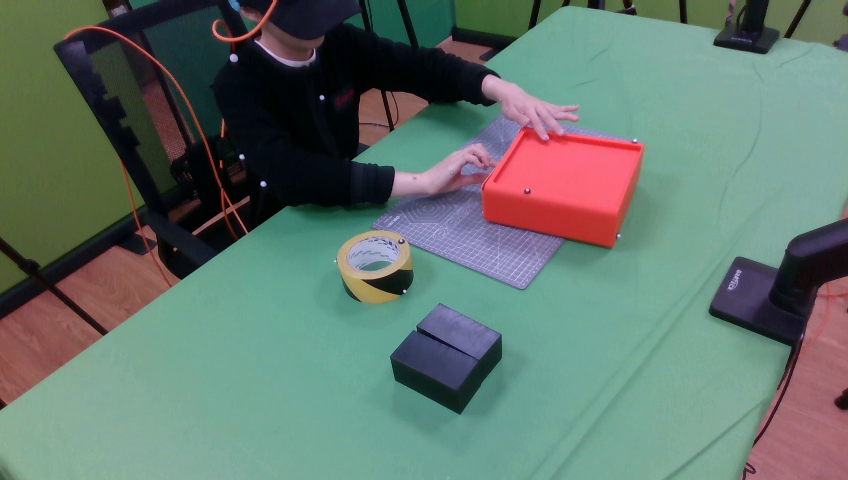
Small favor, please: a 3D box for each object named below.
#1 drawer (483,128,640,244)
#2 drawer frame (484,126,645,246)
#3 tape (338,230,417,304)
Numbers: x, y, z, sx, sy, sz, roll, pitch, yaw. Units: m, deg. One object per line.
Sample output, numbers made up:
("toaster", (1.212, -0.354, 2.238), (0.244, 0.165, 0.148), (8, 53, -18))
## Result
("drawer", (0.230, -0.096, 1.007), (0.210, 0.073, 0.194), (15, 44, 22))
("drawer frame", (0.234, -0.096, 1.003), (0.212, 0.083, 0.202), (14, 44, 22))
("tape", (-0.069, 0.041, 0.917), (0.117, 0.053, 0.116), (-5, 41, 4))
